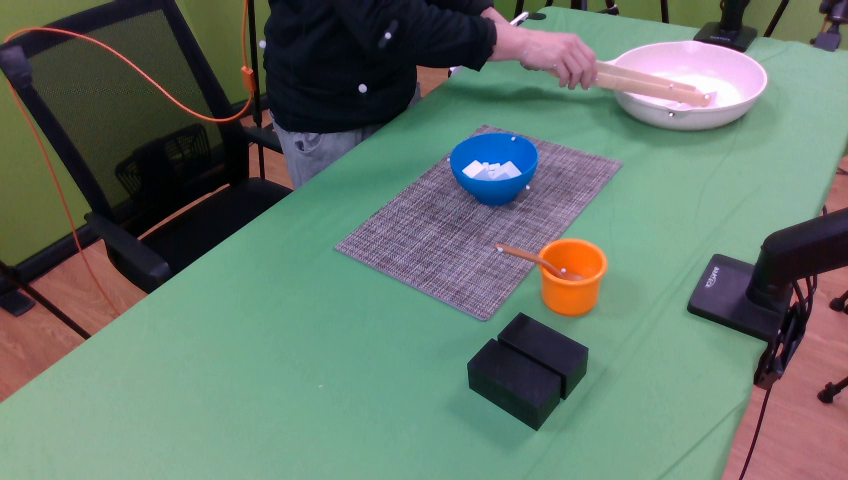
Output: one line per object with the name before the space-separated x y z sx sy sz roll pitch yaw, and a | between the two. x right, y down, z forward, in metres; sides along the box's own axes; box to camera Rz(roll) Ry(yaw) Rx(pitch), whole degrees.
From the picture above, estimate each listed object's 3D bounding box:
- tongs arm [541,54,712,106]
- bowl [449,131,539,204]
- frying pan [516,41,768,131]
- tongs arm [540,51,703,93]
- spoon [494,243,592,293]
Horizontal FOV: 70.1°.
tongs arm | 0.386 -0.292 1.123 0.388 0.026 0.050 0 45 -28
bowl | 0.120 -0.114 1.033 0.151 0.077 0.150 -4 41 4
frying pan | 0.424 -0.338 1.236 0.486 0.103 0.307 18 45 15
tongs arm | 0.380 -0.308 1.138 0.390 0.028 0.028 4 47 -25
spoon | 0.161 0.035 0.808 0.021 0.195 0.041 -48 40 20
